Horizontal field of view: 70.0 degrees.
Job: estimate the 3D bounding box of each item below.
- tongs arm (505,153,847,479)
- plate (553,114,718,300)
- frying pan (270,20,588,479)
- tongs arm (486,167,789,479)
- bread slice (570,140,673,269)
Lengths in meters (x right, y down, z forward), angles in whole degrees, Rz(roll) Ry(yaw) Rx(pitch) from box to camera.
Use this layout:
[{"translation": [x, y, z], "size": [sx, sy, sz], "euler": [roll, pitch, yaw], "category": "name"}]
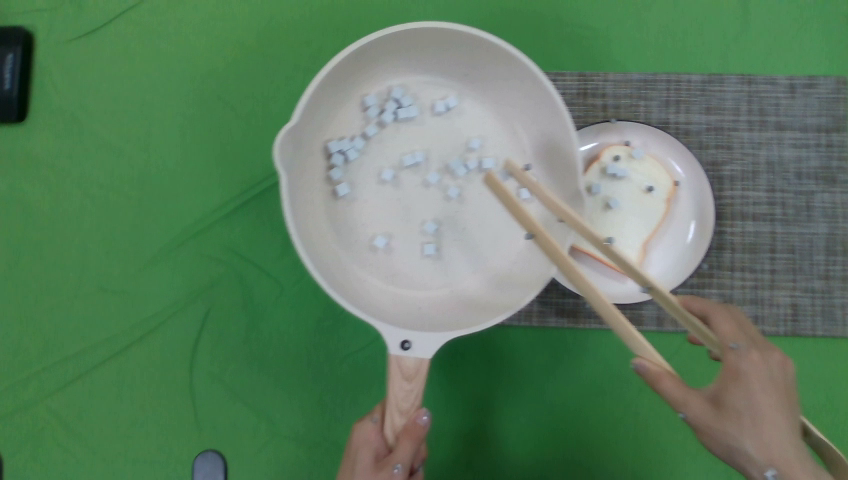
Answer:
[{"translation": [0.200, 0.066, 0.510], "size": [0.383, 0.026, 0.050], "euler": [42, 71, 10], "category": "tongs arm"}, {"translation": [0.217, -0.036, 0.682], "size": [0.207, 0.039, 0.207], "euler": [0, 85, 4], "category": "plate"}, {"translation": [-0.006, 0.045, 0.572], "size": [0.308, 0.102, 0.486], "euler": [10, 80, -14], "category": "frying pan"}, {"translation": [0.187, 0.077, 0.505], "size": [0.028, 0.028, 0.385], "euler": [-38, 77, -21], "category": "tongs arm"}, {"translation": [0.215, -0.043, 0.684], "size": [0.107, 0.018, 0.134], "euler": [25, 89, 4], "category": "bread slice"}]
